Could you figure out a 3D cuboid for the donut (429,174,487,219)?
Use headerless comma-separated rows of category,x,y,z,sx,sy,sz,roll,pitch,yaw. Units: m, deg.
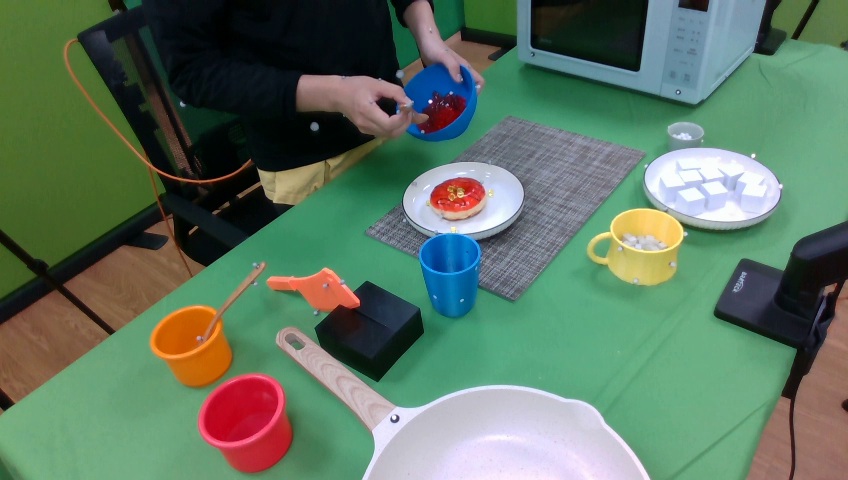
donut,0.058,-0.075,1.015,0.099,0.048,0.098,-6,37,5

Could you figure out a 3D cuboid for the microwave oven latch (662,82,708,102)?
microwave oven latch,0.518,-0.298,1.203,0.078,0.029,0.030,29,53,35

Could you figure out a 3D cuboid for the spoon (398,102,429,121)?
spoon,-0.021,-0.199,0.923,0.041,0.021,0.194,1,4,7

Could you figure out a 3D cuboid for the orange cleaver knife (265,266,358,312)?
orange cleaver knife,-0.164,0.073,0.864,0.210,0.077,0.012,-6,30,50

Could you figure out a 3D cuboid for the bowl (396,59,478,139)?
bowl,0.034,-0.232,1.062,0.150,0.077,0.150,-12,61,23

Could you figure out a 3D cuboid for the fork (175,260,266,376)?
fork,-0.268,0.103,0.792,0.207,0.019,0.028,-51,41,16

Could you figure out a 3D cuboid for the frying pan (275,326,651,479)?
frying pan,0.004,0.229,0.641,0.484,0.103,0.308,34,54,28

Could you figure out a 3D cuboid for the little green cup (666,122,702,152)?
little green cup,0.471,-0.184,1.102,0.061,0.039,0.061,-5,40,4

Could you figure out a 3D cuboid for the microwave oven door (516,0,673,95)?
microwave oven door,0.344,-0.458,1.256,0.353,0.245,0.039,26,51,33

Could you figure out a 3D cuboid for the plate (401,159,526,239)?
plate,0.067,-0.065,1.019,0.209,0.038,0.208,-4,40,4

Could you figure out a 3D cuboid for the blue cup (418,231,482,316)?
blue cup,0.040,0.053,0.843,0.092,0.100,0.092,-4,43,4

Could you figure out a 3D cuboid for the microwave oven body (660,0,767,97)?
microwave oven body,0.473,-0.516,1.313,0.438,0.261,0.327,26,51,34

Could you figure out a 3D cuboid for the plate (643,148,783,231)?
plate,0.464,-0.080,0.986,0.207,0.039,0.206,-4,40,4

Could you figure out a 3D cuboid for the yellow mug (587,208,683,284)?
yellow mug,0.305,0.009,0.884,0.131,0.064,0.099,-4,41,5
